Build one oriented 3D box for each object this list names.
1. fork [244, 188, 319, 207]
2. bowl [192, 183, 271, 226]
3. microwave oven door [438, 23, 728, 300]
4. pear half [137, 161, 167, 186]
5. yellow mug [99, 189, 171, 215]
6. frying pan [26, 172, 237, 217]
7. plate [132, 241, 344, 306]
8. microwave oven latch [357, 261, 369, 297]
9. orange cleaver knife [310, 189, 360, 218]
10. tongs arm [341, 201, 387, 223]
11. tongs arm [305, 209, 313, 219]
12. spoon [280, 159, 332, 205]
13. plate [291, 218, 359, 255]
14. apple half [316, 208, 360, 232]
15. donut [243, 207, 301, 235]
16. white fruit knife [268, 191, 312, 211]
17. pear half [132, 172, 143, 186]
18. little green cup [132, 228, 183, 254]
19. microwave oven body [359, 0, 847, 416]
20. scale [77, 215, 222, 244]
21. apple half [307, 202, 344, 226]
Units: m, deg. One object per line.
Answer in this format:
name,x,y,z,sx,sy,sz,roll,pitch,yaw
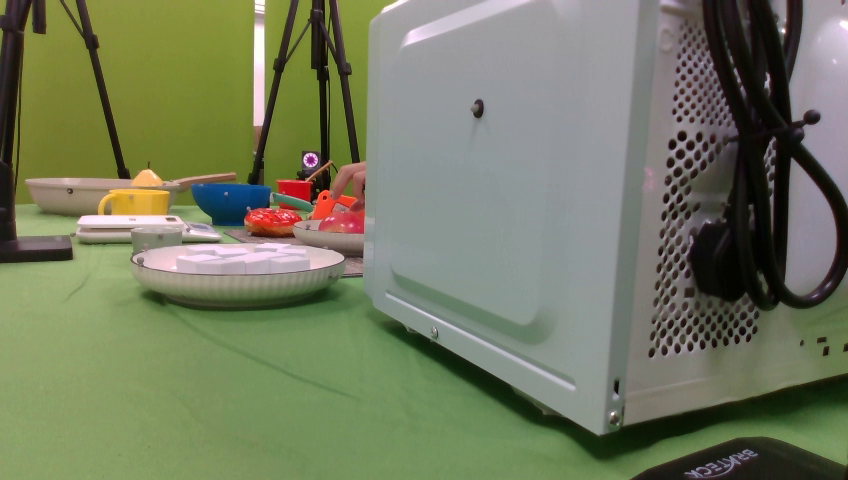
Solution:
fork,-0.356,-0.105,1.526,0.208,0.018,0.028,16,-6,-41
bowl,-0.382,-0.071,1.202,0.151,0.077,0.151,3,7,0
microwave oven door,0.181,-0.073,0.621,0.358,0.243,0.039,-2,8,-29
pear half,-0.602,-0.120,1.354,0.056,0.110,0.076,4,11,6
yellow mug,-0.518,-0.055,1.080,0.099,0.064,0.131,6,9,26
frying pan,-0.624,-0.118,1.387,0.305,0.102,0.490,8,17,32
plate,-0.187,0.033,0.625,0.208,0.039,0.207,2,8,0
microwave oven latch,-0.019,0.033,0.530,0.079,0.029,0.030,-1,7,-27
orange cleaver knife,-0.114,-0.057,1.162,0.212,0.077,0.012,0,14,-25
tongs arm,-0.149,-0.069,1.430,0.051,0.026,0.383,-4,8,-14
tongs arm,-0.234,-0.067,1.415,0.028,0.028,0.387,-5,7,1
spoon,-0.316,-0.159,1.640,0.194,0.022,0.041,-50,32,-20
plate,-0.098,-0.007,0.928,0.209,0.038,0.209,2,7,0
apple half,-0.122,-0.020,0.901,0.080,0.053,0.075,5,11,22
donut,-0.261,-0.032,1.043,0.099,0.048,0.099,4,9,0
white fruit knife,-0.364,-0.105,1.464,0.208,0.027,0.016,15,-1,-34
pear half,-0.638,-0.113,1.361,0.031,0.088,0.070,5,11,4
little green cup,-0.342,0.006,0.779,0.061,0.038,0.061,2,8,0
microwave oven body,0.211,-0.047,0.474,0.444,0.260,0.324,-1,7,-28
scale,-0.434,-0.019,0.963,0.202,0.031,0.148,-1,9,-27
apple half,-0.193,-0.048,1.224,0.081,0.032,0.081,-22,-7,-2
